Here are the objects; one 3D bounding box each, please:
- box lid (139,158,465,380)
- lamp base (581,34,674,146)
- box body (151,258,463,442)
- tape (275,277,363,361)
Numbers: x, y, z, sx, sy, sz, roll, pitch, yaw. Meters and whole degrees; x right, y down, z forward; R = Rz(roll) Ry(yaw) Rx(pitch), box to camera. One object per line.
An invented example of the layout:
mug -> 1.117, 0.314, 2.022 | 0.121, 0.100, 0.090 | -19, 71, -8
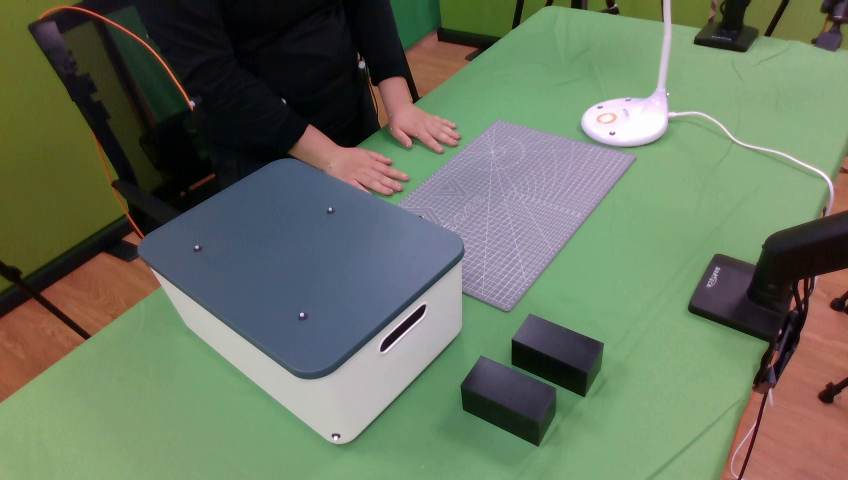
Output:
box lid -> -0.158, 0.010, 0.758 | 0.368, 0.015, 0.264 | 26, 50, 33
lamp base -> 0.393, -0.291, 1.129 | 0.180, 0.181, 0.159 | -11, 41, -8
box body -> -0.152, 0.064, 0.807 | 0.361, 0.161, 0.255 | 26, 51, 33
tape -> -0.143, 0.107, 0.831 | 0.117, 0.053, 0.116 | -4, 41, 4
